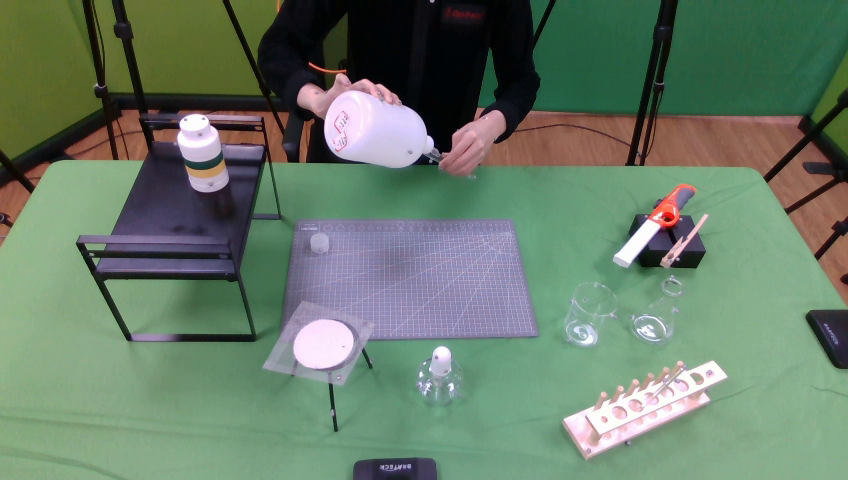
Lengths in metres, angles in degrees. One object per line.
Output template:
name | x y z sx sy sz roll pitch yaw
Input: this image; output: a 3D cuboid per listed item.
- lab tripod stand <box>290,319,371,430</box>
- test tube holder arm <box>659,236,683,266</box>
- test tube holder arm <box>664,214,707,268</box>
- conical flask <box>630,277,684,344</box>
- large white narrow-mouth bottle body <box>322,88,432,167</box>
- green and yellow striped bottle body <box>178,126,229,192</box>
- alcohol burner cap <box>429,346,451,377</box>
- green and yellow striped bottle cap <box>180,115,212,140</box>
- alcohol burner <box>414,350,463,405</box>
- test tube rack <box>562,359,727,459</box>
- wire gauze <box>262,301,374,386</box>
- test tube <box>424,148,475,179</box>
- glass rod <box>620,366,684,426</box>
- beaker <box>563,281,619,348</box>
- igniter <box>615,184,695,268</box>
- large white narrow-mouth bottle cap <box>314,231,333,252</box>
lab tripod stand | -0.146 0.194 0.923 0.148 0.132 0.147 1 47 -1
test tube holder arm | 0.472 0.020 1.149 0.010 0.015 0.088 35 54 27
test tube holder arm | 0.507 -0.001 1.171 0.013 0.015 0.178 34 54 26
conical flask | 0.408 0.117 1.045 0.075 0.122 0.075 2 46 -2
large white narrow-mouth bottle body | -0.058 -0.169 0.960 0.195 0.102 0.101 6 34 -49
green and yellow striped bottle body | -0.361 -0.142 0.989 0.063 0.120 0.063 2 46 -2
alcohol burner cap | 0.026 0.180 0.912 0.034 0.048 0.033 1 47 -1
green and yellow striped bottle cap | -0.358 -0.177 0.951 0.045 0.020 0.045 2 45 -2
alcohol burner | 0.023 0.205 0.939 0.078 0.120 0.077 1 48 -1
test tube rack | 0.341 0.247 0.940 0.243 0.085 0.066 -16 49 -18
wire gauze | -0.150 0.148 0.873 0.121 0.011 0.124 14 46 12
test tube | 0.047 -0.138 1.091 0.151 0.017 0.017 19 26 -50
glass rod | 0.323 0.227 0.866 0.008 0.200 0.008 5 51 -6
beaker | 0.283 0.129 1.041 0.074 0.101 0.083 11 46 6
igniter | 0.459 -0.035 1.196 0.057 0.025 0.276 33 55 27
large white narrow-mouth bottle cap | -0.195 0.003 1.178 0.038 0.024 0.037 2 45 -2
